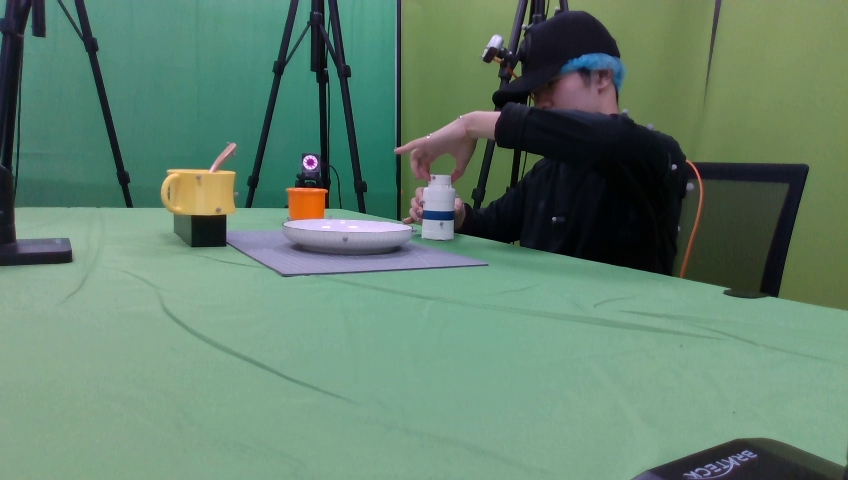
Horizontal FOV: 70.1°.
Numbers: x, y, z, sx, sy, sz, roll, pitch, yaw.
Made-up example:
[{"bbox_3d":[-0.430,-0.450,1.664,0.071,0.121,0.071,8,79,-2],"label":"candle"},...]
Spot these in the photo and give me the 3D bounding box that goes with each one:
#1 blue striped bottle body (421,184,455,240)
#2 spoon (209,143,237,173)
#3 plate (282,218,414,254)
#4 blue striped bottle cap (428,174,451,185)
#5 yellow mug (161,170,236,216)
[{"bbox_3d":[0.027,-0.063,1.157,0.063,0.120,0.063,2,7,0],"label":"blue striped bottle body"},{"bbox_3d":[-0.341,-0.113,0.990,0.041,0.021,0.193,1,40,7],"label":"spoon"},{"bbox_3d":[-0.121,-0.007,0.971,0.208,0.039,0.207,2,7,0],"label":"plate"},{"bbox_3d":[0.030,-0.115,1.150,0.044,0.020,0.044,2,5,0],"label":"blue striped bottle cap"},{"bbox_3d":[-0.354,-0.074,0.935,0.099,0.064,0.131,5,9,21],"label":"yellow mug"}]
